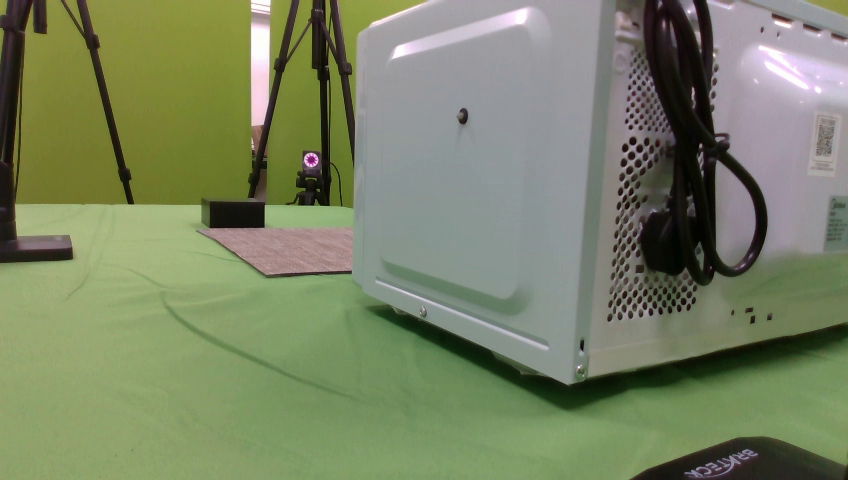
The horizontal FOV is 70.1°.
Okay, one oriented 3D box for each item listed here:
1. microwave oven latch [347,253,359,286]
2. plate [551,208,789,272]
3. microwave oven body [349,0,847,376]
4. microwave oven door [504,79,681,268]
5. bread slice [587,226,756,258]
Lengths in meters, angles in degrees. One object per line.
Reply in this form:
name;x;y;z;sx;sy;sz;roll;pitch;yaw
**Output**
microwave oven latch;-0.034;0.028;0.581;0.079;0.029;0.030;-1;7;-32
plate;0.224;-0.003;0.572;0.209;0.038;0.209;3;8;0
microwave oven body;0.199;-0.053;0.540;0.444;0.260;0.324;-1;7;-32
microwave oven door;0.235;-0.105;0.926;0.039;0.243;0.354;-1;8;-24
bread slice;0.225;0.001;0.570;0.132;0.019;0.104;3;5;-23
